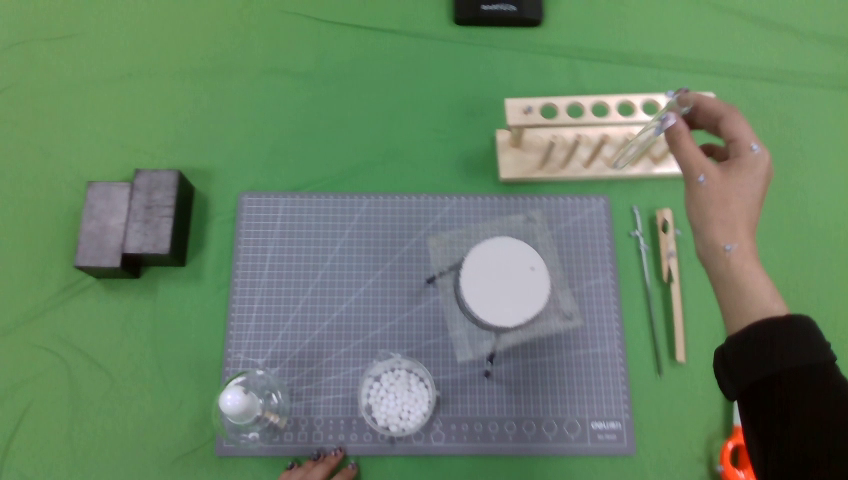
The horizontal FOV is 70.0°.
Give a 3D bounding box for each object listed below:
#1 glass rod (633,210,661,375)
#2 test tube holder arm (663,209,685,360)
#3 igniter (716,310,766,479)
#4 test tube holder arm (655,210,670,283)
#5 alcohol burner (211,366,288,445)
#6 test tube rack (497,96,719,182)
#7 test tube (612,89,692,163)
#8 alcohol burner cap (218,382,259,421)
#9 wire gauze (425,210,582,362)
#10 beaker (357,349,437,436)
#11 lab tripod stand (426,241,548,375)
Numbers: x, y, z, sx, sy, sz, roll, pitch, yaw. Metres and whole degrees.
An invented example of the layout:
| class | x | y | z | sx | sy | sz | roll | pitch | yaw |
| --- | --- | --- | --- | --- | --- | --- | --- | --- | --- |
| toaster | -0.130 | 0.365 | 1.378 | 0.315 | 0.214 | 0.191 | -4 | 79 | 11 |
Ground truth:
| class | x | y | z | sx | sy | sz | roll | pitch | yaw |
| --- | --- | --- | --- | --- | --- | --- | --- | --- | --- |
| glass rod | 0.260 | 0.058 | 0.710 | 0.008 | 0.008 | 0.198 | -1 | 72 | -3 |
| test tube holder arm | 0.290 | 0.050 | 0.707 | 0.013 | 0.015 | 0.177 | -10 | 71 | 30 |
| igniter | 0.345 | 0.212 | 0.657 | 0.057 | 0.025 | 0.275 | 14 | 73 | -8 |
| test tube holder arm | 0.286 | 0.008 | 0.722 | 0.010 | 0.015 | 0.087 | -10 | 71 | 30 |
| alcohol burner | -0.177 | 0.163 | 0.603 | 0.078 | 0.120 | 0.077 | 1 | 70 | -1 |
| test tube rack | 0.214 | -0.119 | 0.722 | 0.242 | 0.085 | 0.066 | -2 | 73 | -2 |
| test tube | 0.205 | -0.101 | 0.559 | 0.017 | 0.150 | 0.017 | 1 | 79 | -3 |
| alcohol burner cap | -0.177 | 0.150 | 0.570 | 0.034 | 0.048 | 0.033 | 2 | 63 | -3 |
| wire gauze | 0.073 | 0.039 | 0.570 | 0.121 | 0.011 | 0.124 | -14 | 74 | -5 |
| beaker | -0.029 | 0.157 | 0.618 | 0.074 | 0.101 | 0.083 | -20 | 73 | -8 |
| lab tripod stand | 0.067 | 0.061 | 0.633 | 0.148 | 0.132 | 0.147 | 0 | 73 | 0 |
